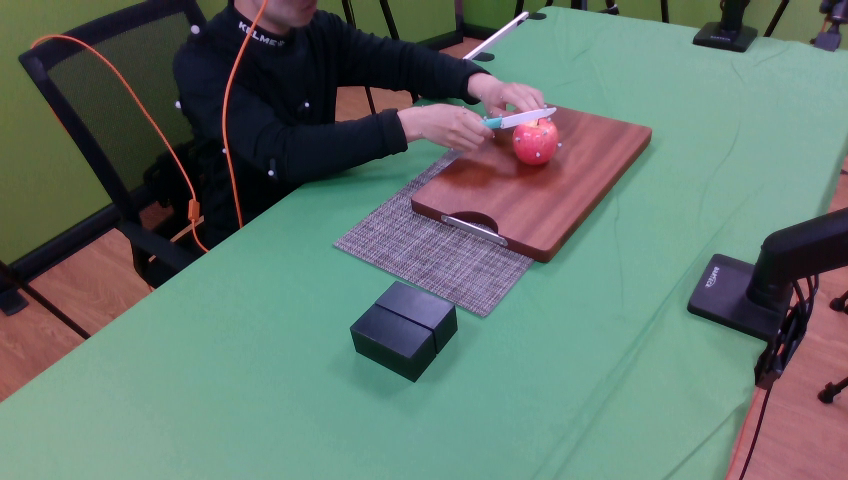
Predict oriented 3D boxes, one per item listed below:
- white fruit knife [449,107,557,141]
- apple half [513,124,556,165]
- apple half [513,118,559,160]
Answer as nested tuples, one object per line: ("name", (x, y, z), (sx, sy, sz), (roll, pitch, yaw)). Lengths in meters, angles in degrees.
("white fruit knife", (0.132, -0.204, 1.050), (0.206, 0.027, 0.016), (-9, 46, 29))
("apple half", (0.185, -0.157, 1.041), (0.081, 0.081, 0.033), (14, 40, 23))
("apple half", (0.202, -0.180, 1.067), (0.080, 0.075, 0.053), (10, 39, 26))
